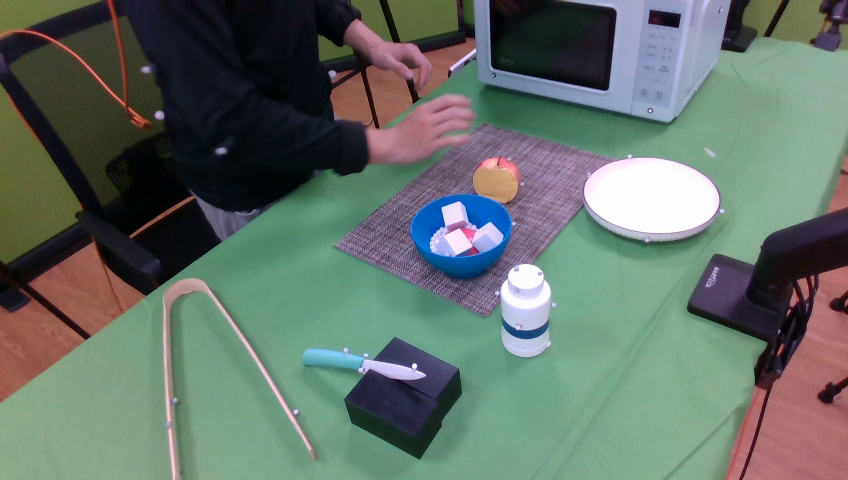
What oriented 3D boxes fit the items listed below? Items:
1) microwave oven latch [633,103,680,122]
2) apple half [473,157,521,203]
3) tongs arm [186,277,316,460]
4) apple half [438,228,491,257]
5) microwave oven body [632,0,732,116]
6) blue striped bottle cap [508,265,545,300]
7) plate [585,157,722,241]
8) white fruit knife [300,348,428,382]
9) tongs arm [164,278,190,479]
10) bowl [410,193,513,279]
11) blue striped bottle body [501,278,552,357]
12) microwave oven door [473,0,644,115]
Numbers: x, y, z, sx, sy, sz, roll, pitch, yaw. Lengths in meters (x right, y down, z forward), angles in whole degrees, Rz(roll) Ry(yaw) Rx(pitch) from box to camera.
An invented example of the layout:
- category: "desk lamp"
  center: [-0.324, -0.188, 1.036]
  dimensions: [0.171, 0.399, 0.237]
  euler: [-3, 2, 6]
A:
- category: "microwave oven latch"
  center: [0.444, -0.249, 1.158]
  dimensions: [0.078, 0.029, 0.030]
  euler: [21, 49, 30]
- category: "apple half"
  center: [0.128, -0.107, 1.030]
  dimensions: [0.080, 0.075, 0.053]
  euler: [5, 38, 20]
- category: "tongs arm"
  center: [-0.241, 0.155, 0.815]
  dimensions: [0.028, 0.028, 0.384]
  euler: [-31, 46, -21]
- category: "apple half"
  center: [0.056, 0.002, 0.902]
  dimensions: [0.081, 0.033, 0.081]
  euler: [-4, 40, 4]
- category: "microwave oven body"
  center: [0.377, -0.463, 1.267]
  dimensions: [0.438, 0.261, 0.327]
  euler: [21, 49, 30]
- category: "blue striped bottle cap"
  center: [0.125, 0.051, 0.735]
  dimensions: [0.044, 0.021, 0.044]
  euler: [-6, 38, 5]
- category: "plate"
  center: [0.367, -0.063, 0.979]
  dimensions: [0.207, 0.039, 0.206]
  euler: [-4, 40, 4]
- category: "white fruit knife"
  center: [-0.079, 0.155, 0.748]
  dimensions: [0.206, 0.027, 0.016]
  euler: [1, 20, 34]
- category: "tongs arm"
  center: [-0.313, 0.182, 0.789]
  dimensions: [0.051, 0.026, 0.381]
  euler: [-19, 41, -14]
- category: "bowl"
  center: [0.058, 0.005, 0.905]
  dimensions: [0.151, 0.077, 0.150]
  euler: [-4, 40, 4]
- category: "blue striped bottle body"
  center: [0.129, 0.089, 0.769]
  dimensions: [0.063, 0.121, 0.063]
  euler: [-4, 41, 4]
- category: "microwave oven door"
  center: [0.257, -0.396, 1.199]
  dimensions: [0.353, 0.245, 0.039]
  euler: [21, 48, 29]
